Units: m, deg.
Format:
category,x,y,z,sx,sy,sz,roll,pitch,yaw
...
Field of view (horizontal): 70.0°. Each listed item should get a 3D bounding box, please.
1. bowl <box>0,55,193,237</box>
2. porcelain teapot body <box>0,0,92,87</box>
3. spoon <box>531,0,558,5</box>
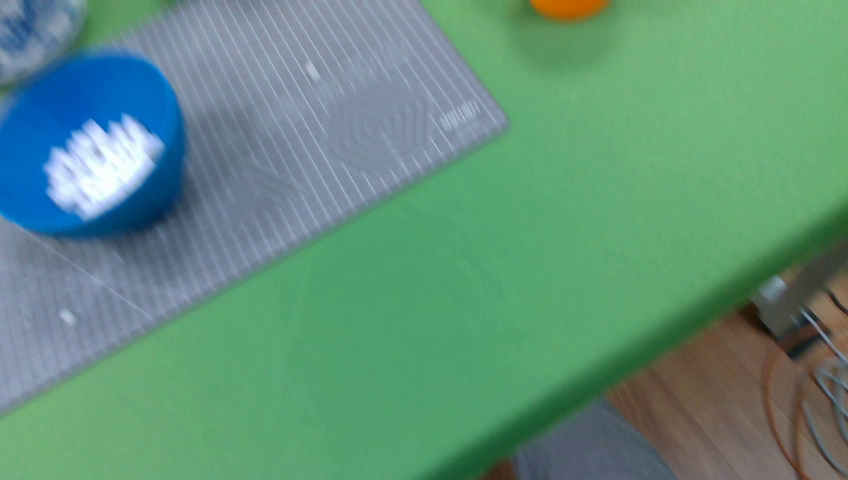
category,x,y,z,sx,sy,sz,roll,pitch,yaw
bowl,-0.240,-0.059,0.469,0.151,0.077,0.150,-4,63,8
porcelain teapot body,-0.436,-0.239,0.513,0.205,0.227,0.144,-17,62,2
spoon,0.145,-0.268,0.465,0.022,0.194,0.041,-3,50,-42
